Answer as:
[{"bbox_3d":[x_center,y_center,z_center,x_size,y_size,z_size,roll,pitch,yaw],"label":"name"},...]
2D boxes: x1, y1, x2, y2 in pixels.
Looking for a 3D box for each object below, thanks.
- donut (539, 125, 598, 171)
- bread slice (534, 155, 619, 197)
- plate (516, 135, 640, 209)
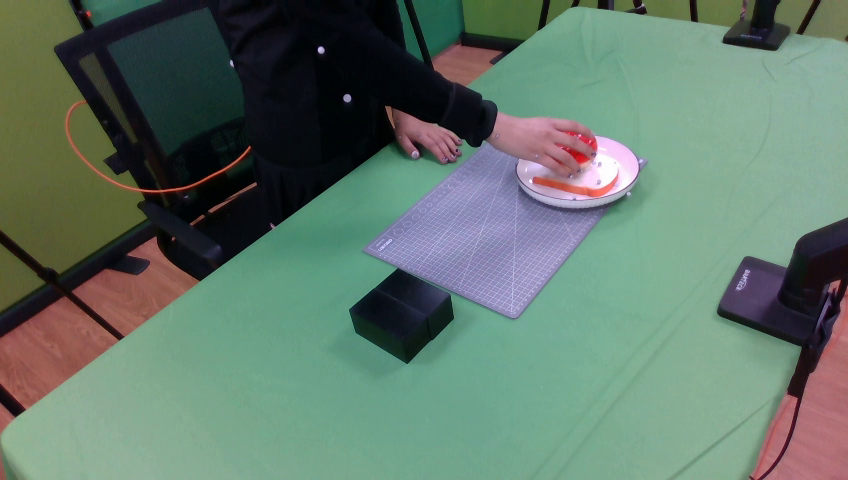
[{"bbox_3d":[0.247,-0.157,1.032,0.099,0.048,0.098,-3,46,4],"label":"donut"},{"bbox_3d":[0.274,-0.119,1.057,0.130,0.019,0.105,20,49,30],"label":"bread slice"},{"bbox_3d":[0.266,-0.117,1.054,0.209,0.038,0.208,-5,40,5],"label":"plate"}]
